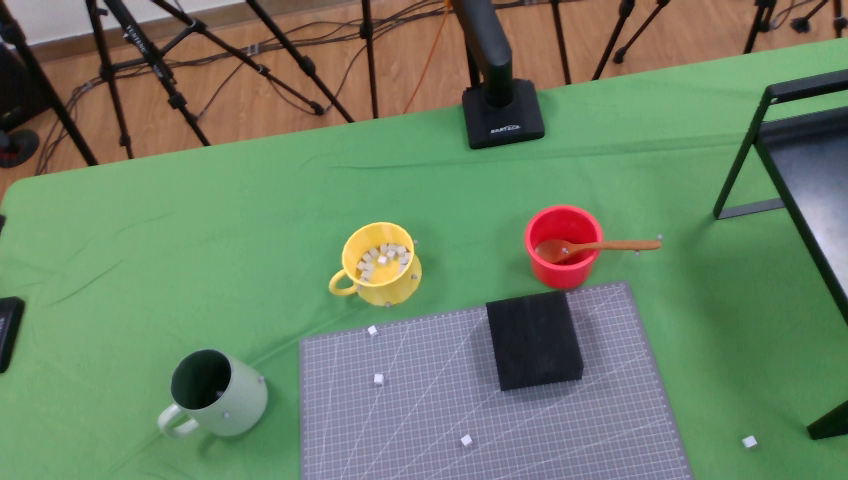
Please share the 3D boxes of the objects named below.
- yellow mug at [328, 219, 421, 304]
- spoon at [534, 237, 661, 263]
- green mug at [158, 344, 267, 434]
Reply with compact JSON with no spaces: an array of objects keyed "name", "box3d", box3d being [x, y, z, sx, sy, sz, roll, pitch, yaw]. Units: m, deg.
[{"name":"yellow mug","box3d":[-0.072,0.037,0.833,0.131,0.064,0.099,-27,60,-6]},{"name":"spoon","box3d":[0.209,0.008,0.757,0.193,0.022,0.041,-7,47,59]},{"name":"green mug","box3d":[-0.267,0.195,0.753,0.125,0.106,0.091,-39,62,-13]}]
